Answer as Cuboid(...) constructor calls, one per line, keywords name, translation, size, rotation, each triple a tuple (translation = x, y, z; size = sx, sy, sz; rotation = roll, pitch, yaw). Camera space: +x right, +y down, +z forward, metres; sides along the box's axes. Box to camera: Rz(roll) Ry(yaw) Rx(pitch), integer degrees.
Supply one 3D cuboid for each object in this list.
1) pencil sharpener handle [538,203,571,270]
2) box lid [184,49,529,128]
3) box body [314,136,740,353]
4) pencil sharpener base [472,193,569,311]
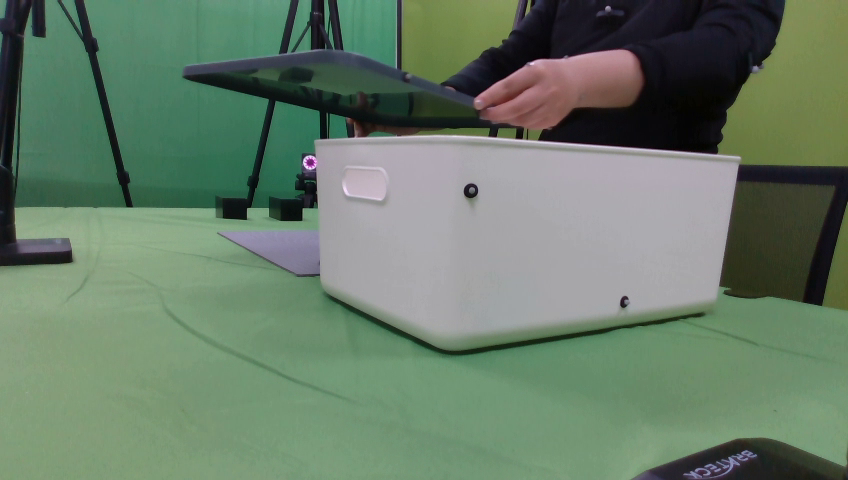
Cuboid(name="pencil sharpener handle", translation=(0.139, -0.004, 0.619), size=(0.031, 0.067, 0.036), rotation=(-1, 9, -33))
Cuboid(name="box lid", translation=(-0.063, -0.169, 0.730), size=(0.262, 0.015, 0.373), rotation=(7, 4, 36))
Cuboid(name="box body", translation=(0.098, -0.012, 0.605), size=(0.366, 0.160, 0.253), rotation=(-2, 8, -33))
Cuboid(name="pencil sharpener base", translation=(0.095, 0.010, 0.592), size=(0.077, 0.107, 0.061), rotation=(-1, 7, -33))
